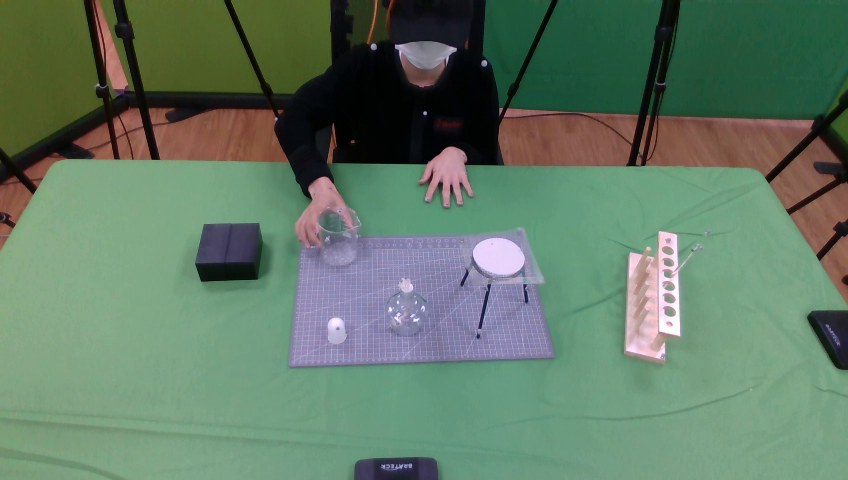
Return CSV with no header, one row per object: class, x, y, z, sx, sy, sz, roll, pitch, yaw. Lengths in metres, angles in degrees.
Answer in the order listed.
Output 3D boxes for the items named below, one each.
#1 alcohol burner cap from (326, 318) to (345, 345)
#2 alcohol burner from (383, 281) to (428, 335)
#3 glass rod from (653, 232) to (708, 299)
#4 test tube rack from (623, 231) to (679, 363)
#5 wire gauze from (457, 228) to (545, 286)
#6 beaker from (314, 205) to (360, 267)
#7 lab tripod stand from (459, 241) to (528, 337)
alcohol burner cap,-0.149,0.151,1.023,0.034,0.048,0.033,3,46,-3
alcohol burner,-0.030,0.108,1.024,0.078,0.119,0.077,2,48,-2
glass rod,0.441,0.049,1.050,0.008,0.200,0.008,4,52,-5
test tube rack,0.410,0.094,1.096,0.066,0.085,0.241,13,46,9
wire gauze,0.126,0.028,1.006,0.125,0.011,0.120,-4,46,-10
beaker,-0.160,-0.004,1.132,0.084,0.101,0.073,9,46,3
lab tripod stand,0.122,0.075,1.054,0.148,0.132,0.147,3,44,-3
